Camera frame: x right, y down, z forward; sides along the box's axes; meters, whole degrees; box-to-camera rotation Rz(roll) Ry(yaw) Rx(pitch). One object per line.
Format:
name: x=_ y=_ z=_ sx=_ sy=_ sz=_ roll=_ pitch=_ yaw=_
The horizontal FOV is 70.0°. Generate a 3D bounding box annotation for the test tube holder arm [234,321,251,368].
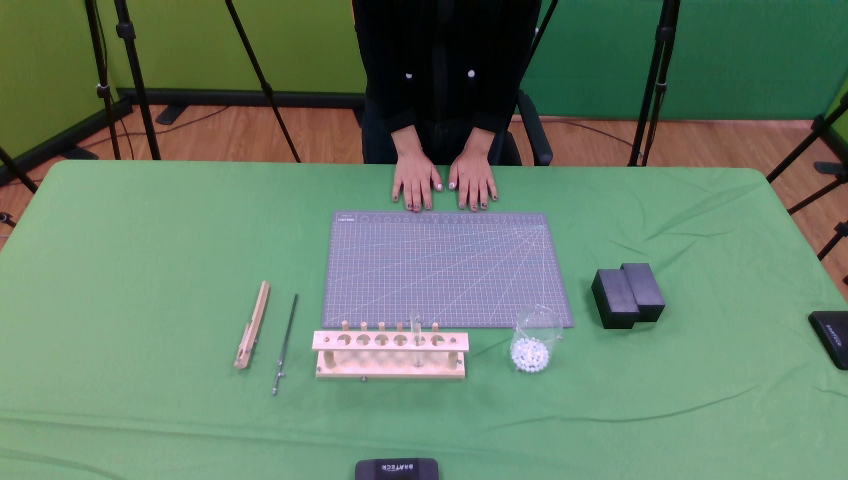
test tube holder arm: x=-0.299 y=0.173 z=1.013 sx=0.010 sy=0.015 sz=0.087 roll=-16 pitch=42 yaw=22

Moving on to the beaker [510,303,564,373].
beaker: x=0.182 y=0.164 z=1.000 sx=0.074 sy=0.101 sz=0.083 roll=2 pitch=45 yaw=-1

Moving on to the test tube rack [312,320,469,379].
test tube rack: x=-0.054 y=0.173 z=0.984 sx=0.242 sy=0.085 sz=0.066 roll=1 pitch=46 yaw=-3

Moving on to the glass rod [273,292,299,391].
glass rod: x=-0.233 y=0.167 z=1.030 sx=0.008 sy=0.008 sz=0.198 roll=3 pitch=46 yaw=0

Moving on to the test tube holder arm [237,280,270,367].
test tube holder arm: x=-0.290 y=0.139 z=1.042 sx=0.013 sy=0.015 sz=0.177 roll=-17 pitch=42 yaw=22

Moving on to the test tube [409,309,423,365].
test tube: x=-0.012 y=0.153 z=0.937 sx=0.017 sy=0.151 sz=0.017 roll=-1 pitch=50 yaw=2
